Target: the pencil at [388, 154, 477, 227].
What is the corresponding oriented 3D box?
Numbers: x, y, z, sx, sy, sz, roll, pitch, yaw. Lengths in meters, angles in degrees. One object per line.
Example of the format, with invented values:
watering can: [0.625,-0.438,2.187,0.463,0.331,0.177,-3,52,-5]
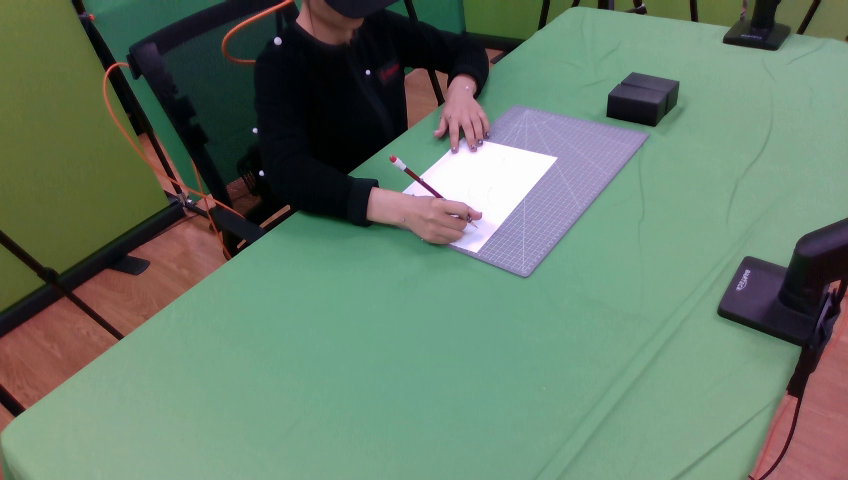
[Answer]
pencil: [0.017,-0.074,0.957,0.012,0.195,0.012,-38,30,27]
